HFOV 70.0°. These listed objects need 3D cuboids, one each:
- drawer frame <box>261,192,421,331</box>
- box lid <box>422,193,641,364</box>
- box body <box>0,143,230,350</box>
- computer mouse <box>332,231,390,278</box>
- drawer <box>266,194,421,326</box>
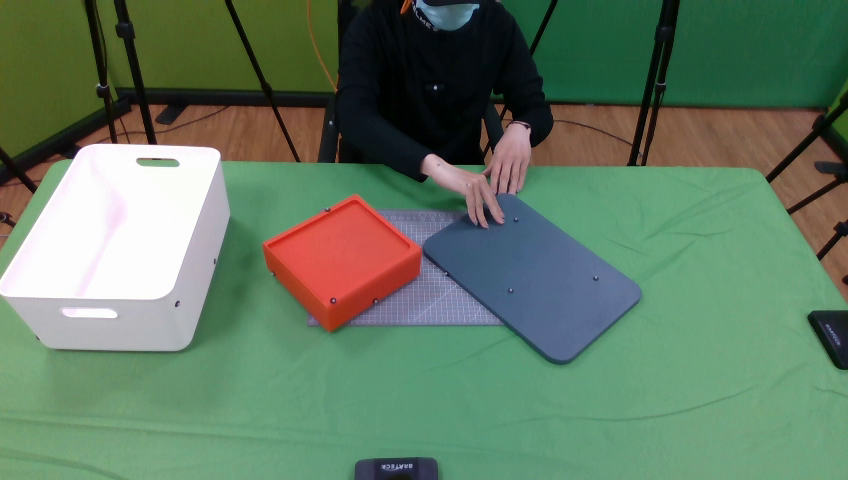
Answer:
[{"bbox_3d":[-0.148,0.032,1.110,0.213,0.083,0.200,-33,57,-29],"label":"drawer frame"},{"bbox_3d":[0.201,0.054,1.167,0.263,0.015,0.369,-32,57,-30],"label":"box lid"},{"bbox_3d":[-0.502,0.007,1.055,0.254,0.161,0.361,1,46,-3],"label":"box body"},{"bbox_3d":[-0.120,0.022,1.142,0.063,0.041,0.116,-35,51,-27],"label":"computer mouse"},{"bbox_3d":[-0.147,0.031,1.113,0.212,0.073,0.193,-33,57,-29],"label":"drawer"}]
